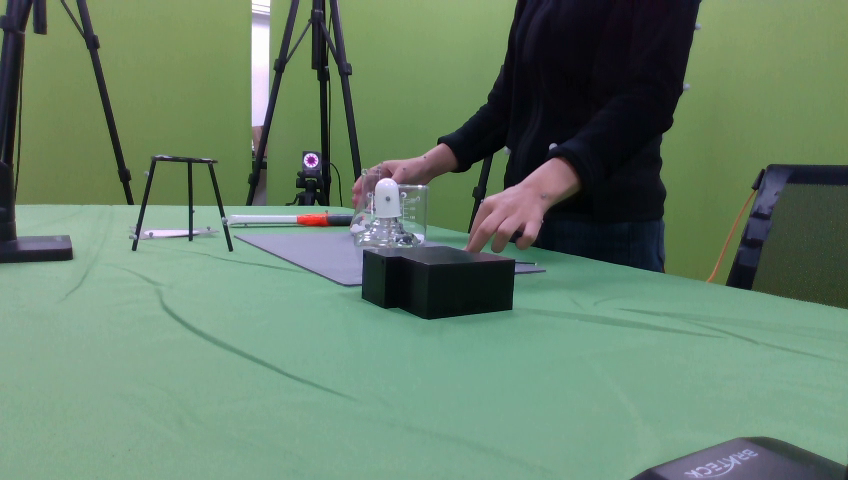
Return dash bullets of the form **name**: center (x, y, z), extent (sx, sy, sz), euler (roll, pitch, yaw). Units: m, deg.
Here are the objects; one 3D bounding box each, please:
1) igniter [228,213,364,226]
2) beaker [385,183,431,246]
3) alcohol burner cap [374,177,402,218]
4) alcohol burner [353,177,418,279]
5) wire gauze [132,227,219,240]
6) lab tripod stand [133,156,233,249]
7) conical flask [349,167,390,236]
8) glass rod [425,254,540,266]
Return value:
- **igniter**: center (-0.252, -0.042, 1.227), extent (0.278, 0.025, 0.057), euler (-2, -2, -32)
- **beaker**: center (-0.031, -0.043, 1.000), extent (0.084, 0.100, 0.074), euler (4, 7, 15)
- **alcohol burner cap**: center (-0.044, -0.049, 0.704), extent (0.034, 0.048, 0.034), euler (-4, 10, 1)
- **alcohol burner**: center (-0.044, -0.014, 0.710), extent (0.078, 0.119, 0.078), euler (4, 9, 0)
- **wire gauze**: center (-0.421, -0.013, 1.024), extent (0.122, 0.011, 0.124), euler (-2, 7, -34)
- **lab tripod stand**: center (-0.342, -0.054, 0.878), extent (0.148, 0.131, 0.148), euler (4, 6, 0)
- **conical flask**: center (-0.097, -0.070, 1.094), extent (0.075, 0.122, 0.075), euler (2, 8, 0)
- **glass rod**: center (0.084, 0.028, 0.810), extent (0.201, 0.008, 0.008), euler (5, 4, -35)
